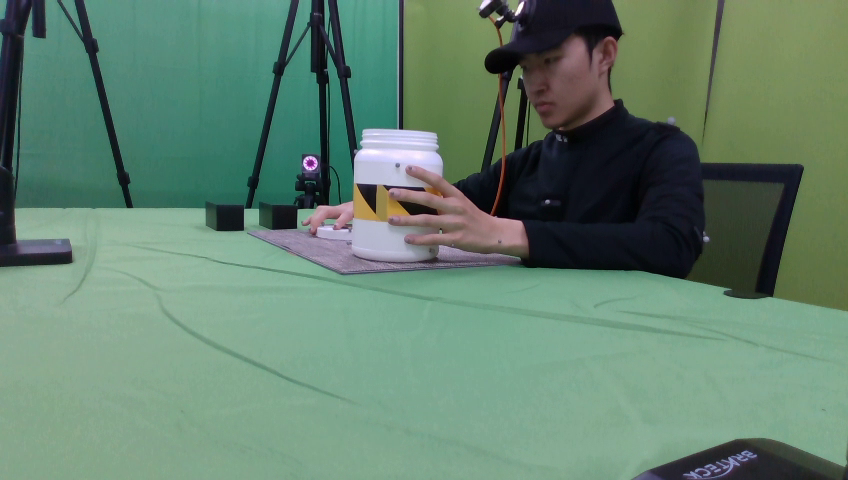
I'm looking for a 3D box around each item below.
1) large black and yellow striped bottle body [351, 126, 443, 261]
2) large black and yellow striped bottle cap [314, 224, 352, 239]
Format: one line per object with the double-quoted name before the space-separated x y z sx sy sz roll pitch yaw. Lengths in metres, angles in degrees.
"large black and yellow striped bottle body" -0.039 -0.069 0.882 0.131 0.184 0.130 2 7 0
"large black and yellow striped bottle cap" -0.143 -0.017 1.113 0.115 0.019 0.115 3 7 0
